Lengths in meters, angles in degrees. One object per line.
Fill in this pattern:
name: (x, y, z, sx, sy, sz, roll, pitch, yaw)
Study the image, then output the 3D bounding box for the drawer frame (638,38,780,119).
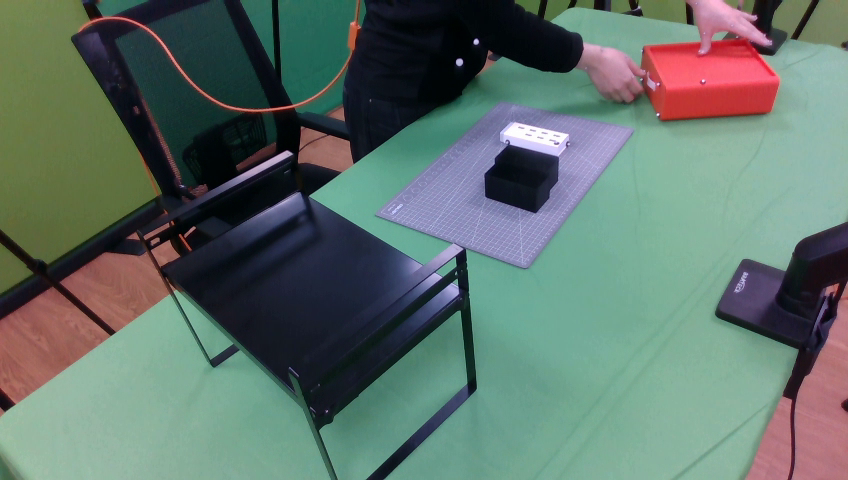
drawer frame: (0.564, -0.329, 1.226, 0.213, 0.083, 0.200, -2, 41, 5)

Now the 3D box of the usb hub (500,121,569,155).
usb hub: (0.213, -0.198, 1.166, 0.124, 0.025, 0.049, 20, 48, 28)

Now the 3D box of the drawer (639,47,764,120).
drawer: (0.563, -0.325, 1.229, 0.212, 0.073, 0.193, -1, 40, 4)
